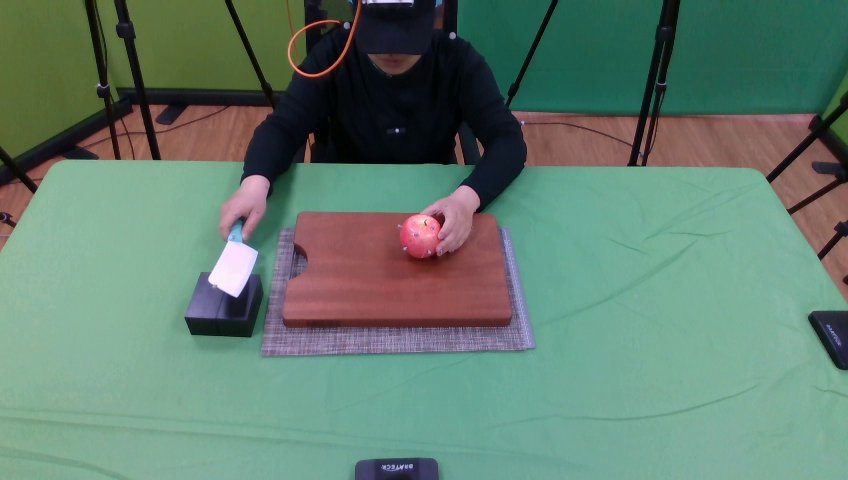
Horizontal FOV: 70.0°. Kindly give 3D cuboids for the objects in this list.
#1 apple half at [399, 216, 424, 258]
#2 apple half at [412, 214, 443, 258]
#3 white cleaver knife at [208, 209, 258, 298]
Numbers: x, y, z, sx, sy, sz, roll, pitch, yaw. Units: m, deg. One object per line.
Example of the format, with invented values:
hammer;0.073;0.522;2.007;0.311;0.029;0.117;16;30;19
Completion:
apple half;-0.028;0.000;1.119;0.033;0.081;0.081;-13;48;-23
apple half;0.007;-0.009;1.133;0.053;0.075;0.080;-13;44;-22
white cleaver knife;-0.336;0.021;1.105;0.066;0.021;0.285;38;20;-21
